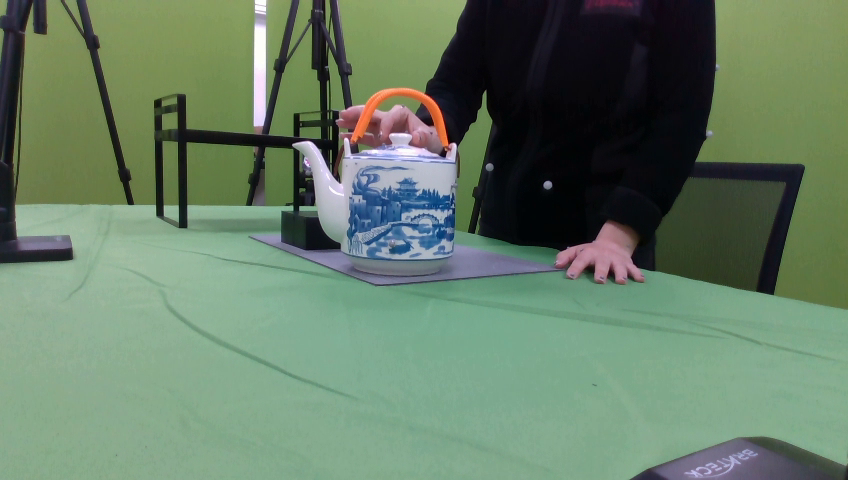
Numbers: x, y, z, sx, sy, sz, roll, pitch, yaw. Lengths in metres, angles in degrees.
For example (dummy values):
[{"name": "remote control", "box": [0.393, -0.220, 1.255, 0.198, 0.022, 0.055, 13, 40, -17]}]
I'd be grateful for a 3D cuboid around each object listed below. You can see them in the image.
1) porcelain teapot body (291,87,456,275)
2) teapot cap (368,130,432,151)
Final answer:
[{"name": "porcelain teapot body", "box": [-0.060, -0.076, 0.753, 0.206, 0.225, 0.145, 0, 7, -11]}, {"name": "teapot cap", "box": [-0.031, -0.115, 0.754, 0.085, 0.044, 0.085, 1, 11, 0]}]
